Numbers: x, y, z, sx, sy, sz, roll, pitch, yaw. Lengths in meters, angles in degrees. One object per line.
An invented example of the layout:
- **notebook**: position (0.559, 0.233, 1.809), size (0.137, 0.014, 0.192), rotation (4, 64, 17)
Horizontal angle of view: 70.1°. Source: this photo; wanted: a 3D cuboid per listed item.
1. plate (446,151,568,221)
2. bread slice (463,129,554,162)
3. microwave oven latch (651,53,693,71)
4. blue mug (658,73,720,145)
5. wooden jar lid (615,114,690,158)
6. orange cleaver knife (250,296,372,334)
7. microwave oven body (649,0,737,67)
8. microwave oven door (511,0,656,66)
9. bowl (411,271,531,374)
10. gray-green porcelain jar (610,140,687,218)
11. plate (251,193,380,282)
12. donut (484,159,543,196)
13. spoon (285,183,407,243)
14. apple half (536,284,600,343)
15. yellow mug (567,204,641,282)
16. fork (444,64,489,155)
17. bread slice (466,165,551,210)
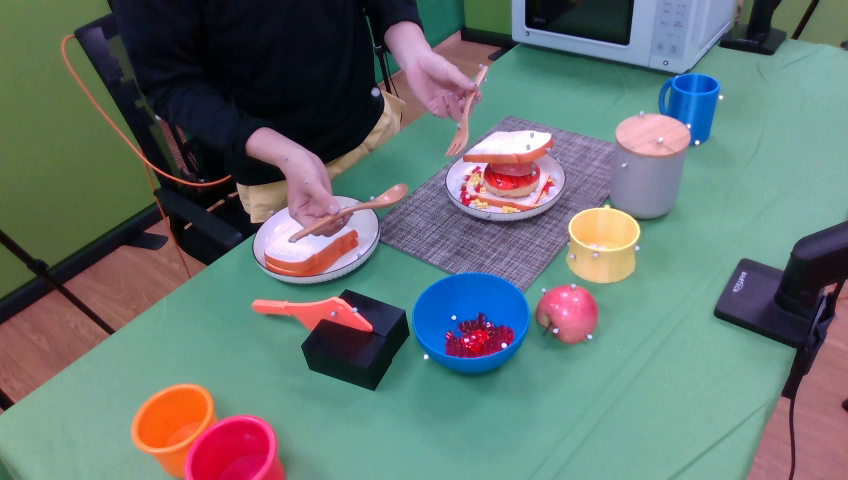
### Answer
- **plate**: position (0.143, -0.097, 1.045), size (0.207, 0.039, 0.206), rotation (-4, 40, 4)
- **bread slice**: position (0.143, -0.154, 0.975), size (0.130, 0.019, 0.105), rotation (9, 35, 38)
- **microwave oven latch**: position (0.532, -0.386, 1.301), size (0.078, 0.029, 0.030), rotation (27, 52, 34)
- **blue mug**: position (0.483, -0.250, 1.127), size (0.082, 0.106, 0.115), rotation (-26, 44, -19)
- **wooden jar lid**: position (0.347, -0.155, 0.923), size (0.108, 0.021, 0.108), rotation (-3, 44, 4)
- **orange cleaver knife**: position (-0.158, 0.103, 0.828), size (0.210, 0.078, 0.012), rotation (-4, 43, 39)
- **microwave oven body**: position (0.475, -0.602, 1.411), size (0.438, 0.261, 0.327), rotation (23, 50, 32)
- **microwave oven door**: position (0.350, -0.539, 1.348), size (0.353, 0.245, 0.039), rotation (24, 50, 31)
- **bowl**: position (0.062, 0.119, 0.780), size (0.151, 0.077, 0.150), rotation (-4, 40, 4)
- **gray-green porcelain jar**: position (0.354, -0.106, 0.964), size (0.106, 0.127, 0.105), rotation (-4, 41, 4)
- **plate**: position (-0.174, -0.001, 0.984), size (0.209, 0.038, 0.208), rotation (-4, 40, 4)
- **donut**: position (0.151, -0.112, 1.018), size (0.099, 0.048, 0.098), rotation (-4, 40, 4)
- **spoon**: position (-0.102, -0.039, 0.815), size (0.195, 0.022, 0.041), rotation (-24, 31, -33)
- **apple half**: position (0.196, 0.091, 0.815), size (0.075, 0.053, 0.080), rotation (-22, 42, -20)
- **yellow mug**: position (0.268, -0.004, 0.905), size (0.099, 0.064, 0.130), rotation (6, 41, 16)
- **fork**: position (0.068, -0.199, 0.910), size (0.028, 0.019, 0.207), rotation (-6, 51, 35)
- **bread slice**: position (0.141, -0.093, 1.041), size (0.133, 0.018, 0.107), rotation (8, 42, 20)
